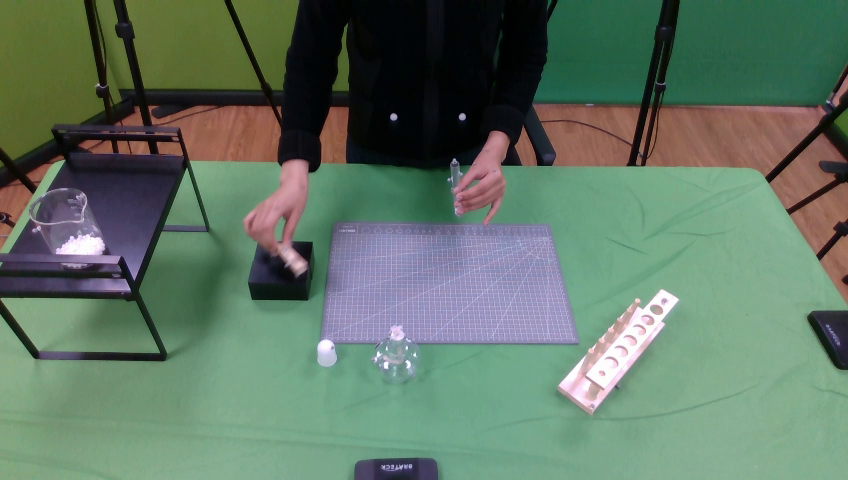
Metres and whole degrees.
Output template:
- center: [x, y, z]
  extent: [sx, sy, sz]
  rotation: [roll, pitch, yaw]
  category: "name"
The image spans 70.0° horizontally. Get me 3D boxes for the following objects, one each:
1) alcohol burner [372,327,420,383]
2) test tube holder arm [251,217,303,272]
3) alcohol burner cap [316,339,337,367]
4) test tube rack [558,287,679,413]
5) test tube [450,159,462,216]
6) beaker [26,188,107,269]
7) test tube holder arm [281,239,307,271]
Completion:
- center: [-0.044, 0.175, 0.961]
  extent: [0.078, 0.120, 0.077]
  rotation: [1, 47, -1]
  category: "alcohol burner"
- center: [-0.256, 0.005, 1.045]
  extent: [0.013, 0.015, 0.177]
  rotation: [-19, 40, -36]
  category: "test tube holder arm"
- center: [-0.161, 0.182, 0.995]
  extent: [0.034, 0.048, 0.033]
  rotation: [2, 47, -2]
  category: "alcohol burner cap"
- center: [0.326, 0.170, 1.009]
  extent: [0.066, 0.085, 0.242]
  rotation: [36, 54, 26]
  category: "test tube rack"
- center: [0.057, -0.090, 1.074]
  extent: [0.017, 0.151, 0.017]
  rotation: [-3, 57, 4]
  category: "test tube"
- center: [-0.504, -0.013, 0.868]
  extent: [0.084, 0.101, 0.074]
  rotation: [23, 49, 17]
  category: "beaker"
- center: [-0.223, 0.024, 1.020]
  extent: [0.010, 0.015, 0.087]
  rotation: [-18, 40, -36]
  category: "test tube holder arm"
